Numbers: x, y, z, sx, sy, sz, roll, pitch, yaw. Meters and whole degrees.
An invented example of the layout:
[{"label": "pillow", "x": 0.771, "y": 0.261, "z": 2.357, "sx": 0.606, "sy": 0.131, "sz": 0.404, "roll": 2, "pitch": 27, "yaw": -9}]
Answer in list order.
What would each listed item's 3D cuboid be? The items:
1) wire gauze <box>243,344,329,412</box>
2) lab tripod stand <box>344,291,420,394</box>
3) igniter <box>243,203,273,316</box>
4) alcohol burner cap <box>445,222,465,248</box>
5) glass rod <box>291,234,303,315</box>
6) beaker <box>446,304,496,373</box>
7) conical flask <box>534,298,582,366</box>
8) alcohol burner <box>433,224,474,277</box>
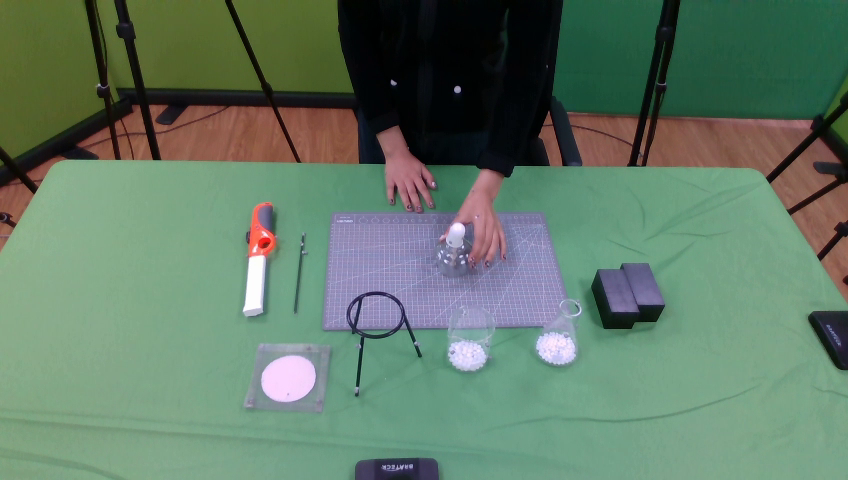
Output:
[{"label": "wire gauze", "x": -0.221, "y": 0.219, "z": 0.981, "sx": 0.125, "sy": 0.011, "sz": 0.120, "roll": 2, "pitch": 45, "yaw": 0}, {"label": "lab tripod stand", "x": -0.075, "y": 0.155, "z": 0.967, "sx": 0.148, "sy": 0.132, "sz": 0.147, "roll": 3, "pitch": 44, "yaw": -3}, {"label": "igniter", "x": -0.315, "y": 0.027, "z": 1.145, "sx": 0.057, "sy": 0.025, "sz": 0.274, "roll": -10, "pitch": 47, "yaw": 0}, {"label": "alcohol burner cap", "x": 0.057, "y": -0.012, "z": 1.098, "sx": 0.034, "sy": 0.048, "sz": 0.033, "roll": 5, "pitch": 52, "yaw": -6}, {"label": "glass rod", "x": -0.237, "y": 0.059, "z": 1.133, "sx": 0.008, "sy": 0.008, "sz": 0.198, "roll": -1, "pitch": 46, "yaw": -4}, {"label": "beaker", "x": 0.072, "y": 0.166, "z": 0.992, "sx": 0.084, "sy": 0.101, "sz": 0.073, "roll": -21, "pitch": 51, "yaw": -22}, {"label": "conical flask", "x": 0.229, "y": 0.149, "z": 1.005, "sx": 0.075, "sy": 0.122, "sz": 0.075, "roll": 2, "pitch": 46, "yaw": -2}, {"label": "alcohol burner", "x": 0.056, "y": 0.012, "z": 1.125, "sx": 0.078, "sy": 0.120, "sz": 0.077, "roll": 2, "pitch": 48, "yaw": -2}]
